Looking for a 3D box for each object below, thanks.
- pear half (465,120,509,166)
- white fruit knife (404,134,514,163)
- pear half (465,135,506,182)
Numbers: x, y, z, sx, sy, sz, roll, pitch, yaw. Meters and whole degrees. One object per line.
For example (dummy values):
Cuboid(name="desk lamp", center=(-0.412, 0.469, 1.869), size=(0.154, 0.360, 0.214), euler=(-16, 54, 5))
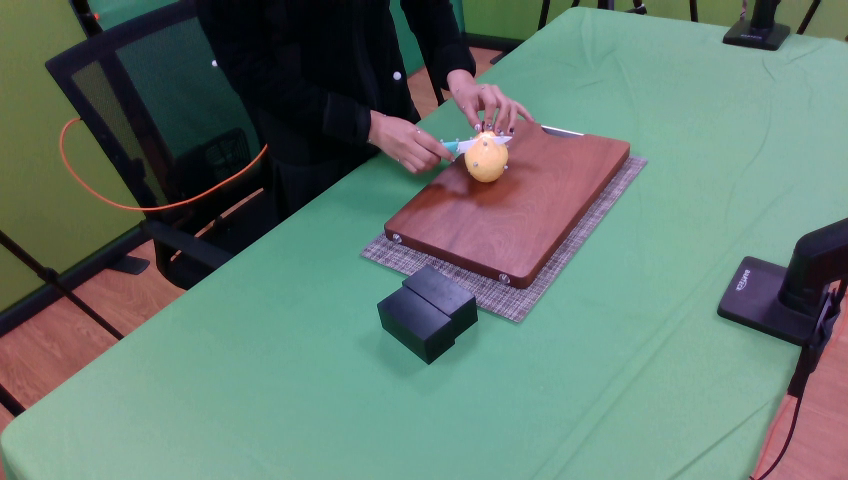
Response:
Cuboid(name="pear half", center=(0.109, -0.164, 1.043), size=(0.076, 0.110, 0.056), euler=(4, 41, 11))
Cuboid(name="white fruit knife", center=(0.055, -0.160, 1.035), size=(0.206, 0.027, 0.016), euler=(-8, 40, 23))
Cuboid(name="pear half", center=(0.103, -0.132, 1.023), size=(0.070, 0.088, 0.031), euler=(4, 44, 8))
